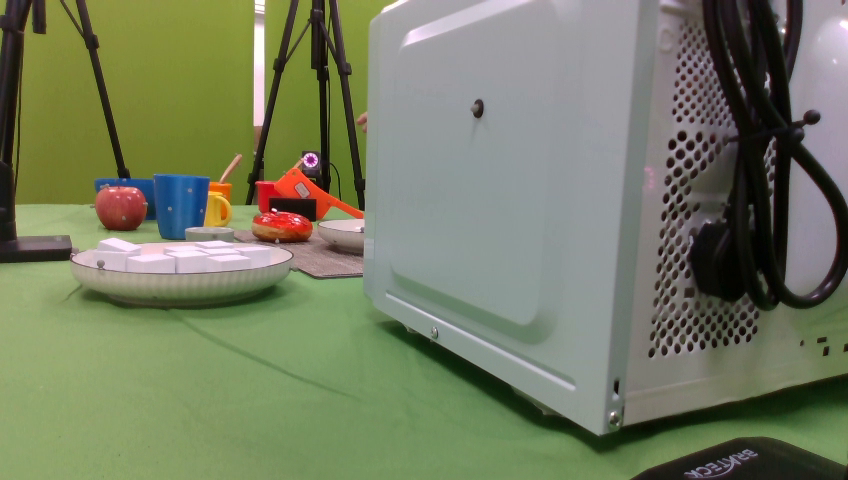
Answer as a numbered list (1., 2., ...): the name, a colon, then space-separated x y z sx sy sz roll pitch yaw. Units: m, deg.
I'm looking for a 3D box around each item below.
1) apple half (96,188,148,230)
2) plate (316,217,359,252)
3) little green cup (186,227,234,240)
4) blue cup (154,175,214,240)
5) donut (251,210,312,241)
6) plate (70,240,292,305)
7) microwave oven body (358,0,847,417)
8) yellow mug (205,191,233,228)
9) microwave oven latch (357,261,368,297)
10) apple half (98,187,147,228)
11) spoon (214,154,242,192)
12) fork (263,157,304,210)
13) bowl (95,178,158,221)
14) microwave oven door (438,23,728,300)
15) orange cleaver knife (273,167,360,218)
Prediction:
1. apple half: -0.517 -0.052 1.036 0.081 0.074 0.053 3 10 -26
2. plate: -0.064 -0.008 0.943 0.209 0.038 0.209 3 8 0
3. little green cup: -0.285 0.005 0.805 0.061 0.038 0.061 2 8 0
4. blue cup: -0.390 -0.053 0.978 0.093 0.100 0.092 3 6 0
5. donut: -0.231 -0.022 0.983 0.099 0.048 0.099 5 7 0
6. plate: -0.242 0.031 0.618 0.208 0.039 0.207 2 8 0
7. microwave oven body: 0.211 -0.047 0.474 0.444 0.260 0.324 -1 7 -28
8. yellow mug: -0.415 -0.057 1.132 0.130 0.064 0.100 6 8 16
9. microwave oven latch: -0.019 0.033 0.531 0.079 0.029 0.030 -1 7 -27
10. apple half: -0.534 -0.059 1.071 0.082 0.081 0.032 -1 12 -25
11. spoon: -0.439 -0.124 1.318 0.041 0.193 0.022 5 -36 16
12. fork: -0.345 -0.143 1.505 0.028 0.019 0.207 -4 46 29
13. bowl: -0.576 -0.081 1.217 0.151 0.077 0.151 3 8 0
14. microwave oven door: 0.181 -0.072 0.620 0.358 0.243 0.039 -2 8 -29
15. orange cleaver knife: -0.238 -0.091 1.381 0.212 0.077 0.012 31 0 -19
